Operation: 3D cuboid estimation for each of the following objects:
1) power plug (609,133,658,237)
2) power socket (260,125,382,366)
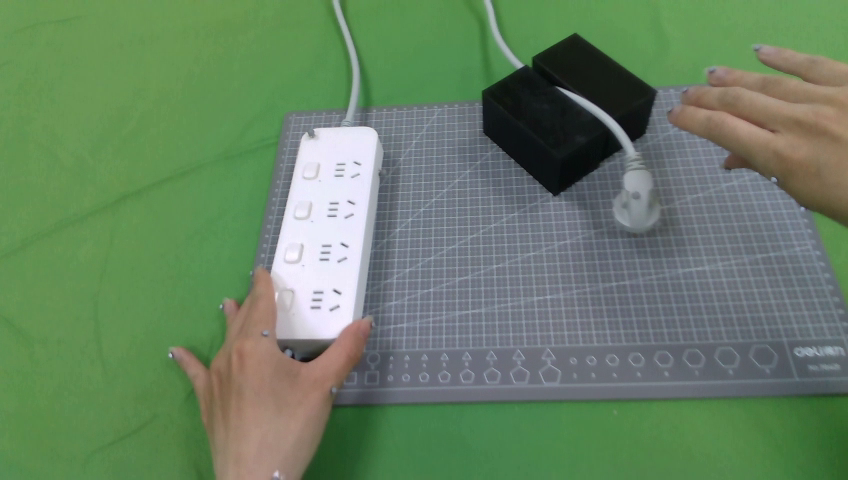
[{"bbox_3d":[0.167,-0.039,0.472,0.035,0.053,0.072,14,66,16],"label":"power plug"},{"bbox_3d":[-0.079,-0.009,0.498,0.072,0.033,0.224,0,57,6],"label":"power socket"}]
